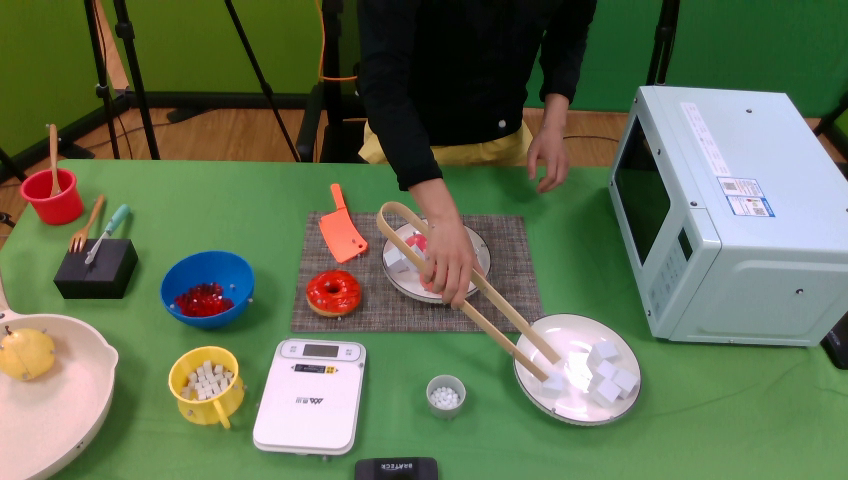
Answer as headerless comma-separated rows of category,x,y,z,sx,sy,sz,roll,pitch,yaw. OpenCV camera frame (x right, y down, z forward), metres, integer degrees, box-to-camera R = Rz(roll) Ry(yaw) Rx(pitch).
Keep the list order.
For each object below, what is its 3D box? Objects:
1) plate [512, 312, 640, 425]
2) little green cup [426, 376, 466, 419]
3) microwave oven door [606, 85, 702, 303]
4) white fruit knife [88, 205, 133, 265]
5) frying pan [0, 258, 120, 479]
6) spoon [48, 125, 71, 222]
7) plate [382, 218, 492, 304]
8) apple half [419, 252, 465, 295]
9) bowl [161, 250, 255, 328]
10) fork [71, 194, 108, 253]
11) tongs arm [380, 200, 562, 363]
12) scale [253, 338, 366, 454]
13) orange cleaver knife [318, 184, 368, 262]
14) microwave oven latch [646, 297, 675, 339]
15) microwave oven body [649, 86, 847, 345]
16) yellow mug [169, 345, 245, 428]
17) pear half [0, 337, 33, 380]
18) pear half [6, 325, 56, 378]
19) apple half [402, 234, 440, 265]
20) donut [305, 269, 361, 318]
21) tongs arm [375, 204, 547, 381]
plate,0.246,0.213,0.999,0.208,0.039,0.206,2,46,-2
little green cup,0.033,0.248,0.950,0.061,0.039,0.061,2,46,-2
microwave oven door,0.422,-0.094,1.140,0.039,0.245,0.353,2,46,-1
white fruit knife,-0.584,-0.013,1.129,0.016,0.027,0.206,0,32,-5
frying pan,-0.647,0.164,0.936,0.307,0.103,0.485,-19,58,-22
spoon,-0.718,-0.131,1.188,0.041,0.021,0.193,-3,90,-7
plate,0.023,0.042,1.143,0.209,0.038,0.208,2,46,-2
apple half,0.035,0.055,1.109,0.074,0.053,0.081,37,55,24
bowl,-0.362,0.098,1.039,0.151,0.077,0.150,2,45,-2
fork,-0.634,-0.036,1.158,0.028,0.019,0.206,-8,31,-8
tongs arm,0.071,0.069,0.998,0.384,0.026,0.051,46,53,10
scale,-0.175,0.236,0.951,0.149,0.032,0.199,4,46,0
orange cleaver knife,-0.173,-0.037,1.219,0.077,0.012,0.210,-16,50,-12
microwave oven latch,0.412,0.134,1.061,0.030,0.029,0.078,4,45,1
microwave oven body,0.567,-0.053,1.118,0.326,0.261,0.439,2,45,-1
yellow mug,-0.322,0.230,0.922,0.100,0.064,0.130,-24,53,-25
pear half,-0.631,0.184,0.921,0.070,0.088,0.031,29,49,19
pear half,-0.608,0.158,0.935,0.076,0.110,0.056,31,51,20
apple half,-0.004,0.014,1.160,0.081,0.033,0.081,5,44,-4
donut,-0.161,0.095,1.075,0.099,0.048,0.098,4,45,-3
tongs arm,0.053,0.084,0.980,0.386,0.028,0.028,44,56,9
